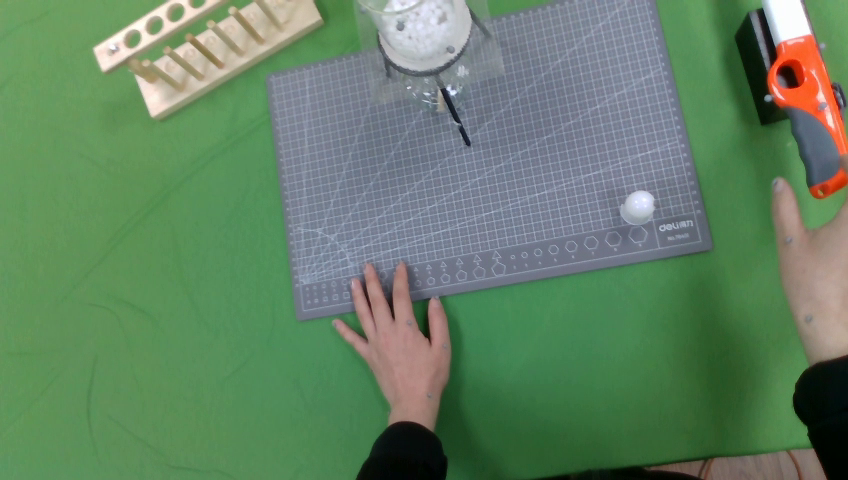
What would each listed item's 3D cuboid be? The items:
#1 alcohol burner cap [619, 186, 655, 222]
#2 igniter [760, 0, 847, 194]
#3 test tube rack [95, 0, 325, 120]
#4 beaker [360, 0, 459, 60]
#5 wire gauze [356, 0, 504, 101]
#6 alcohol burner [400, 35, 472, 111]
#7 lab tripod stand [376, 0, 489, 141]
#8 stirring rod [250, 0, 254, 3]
[{"bbox_3d":[0.215,-0.038,0.608,0.034,0.048,0.033,-2,81,11],"label":"alcohol burner cap"},{"bbox_3d":[0.343,-0.177,0.561,0.057,0.025,0.275,-12,78,13],"label":"igniter"},{"bbox_3d":[-0.248,-0.240,0.711,0.242,0.085,0.066,-28,78,7],"label":"test tube rack"},{"bbox_3d":[-0.014,-0.203,0.512,0.084,0.101,0.074,3,83,12],"label":"beaker"},{"bbox_3d":[0.001,-0.196,0.558,0.125,0.011,0.121,-11,84,8],"label":"wire gauze"},{"bbox_3d":[0.010,-0.181,0.632,0.078,0.119,0.077,-1,81,10],"label":"alcohol burner"},{"bbox_3d":[0.015,-0.186,0.622,0.148,0.132,0.148,-1,83,10],"label":"lab tripod stand"},{"bbox_3d":[-0.217,-0.309,0.634,0.006,0.177,0.014,-27,72,1],"label":"stirring rod"}]
